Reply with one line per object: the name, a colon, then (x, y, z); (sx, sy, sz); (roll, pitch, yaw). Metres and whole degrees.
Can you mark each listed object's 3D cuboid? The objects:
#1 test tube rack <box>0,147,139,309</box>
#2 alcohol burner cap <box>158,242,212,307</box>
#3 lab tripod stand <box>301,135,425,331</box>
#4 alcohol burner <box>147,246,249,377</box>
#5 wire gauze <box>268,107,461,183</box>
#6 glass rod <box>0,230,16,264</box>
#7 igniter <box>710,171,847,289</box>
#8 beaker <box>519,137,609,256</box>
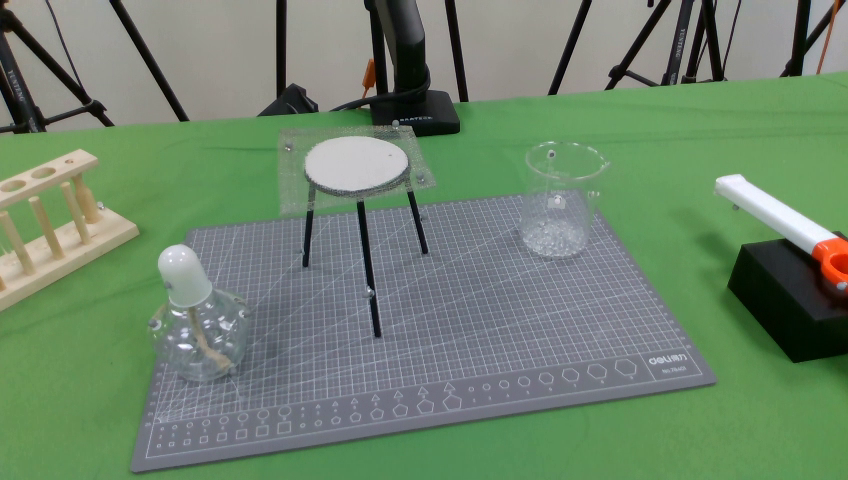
test tube rack: (-0.405, 0.007, 0.568); (0.066, 0.086, 0.242); (24, 44, 28)
alcohol burner cap: (-0.182, 0.023, 0.455); (0.034, 0.048, 0.033); (-1, 42, 1)
lab tripod stand: (-0.054, -0.014, 0.543); (0.148, 0.132, 0.147); (1, 39, 0)
alcohol burner: (-0.181, 0.052, 0.477); (0.078, 0.120, 0.077); (1, 37, 0)
wire gauze: (-0.050, -0.078, 0.490); (0.125, 0.011, 0.120); (-14, 36, -28)
glass rod: (-0.402, -0.054, 0.537); (0.008, 0.201, 0.008); (3, 39, -2)
igniter: (0.351, 0.009, 0.520); (0.057, 0.025, 0.273); (-12, 36, -14)
beaker: (0.135, -0.041, 0.603); (0.084, 0.101, 0.073); (-2, 38, -1)
